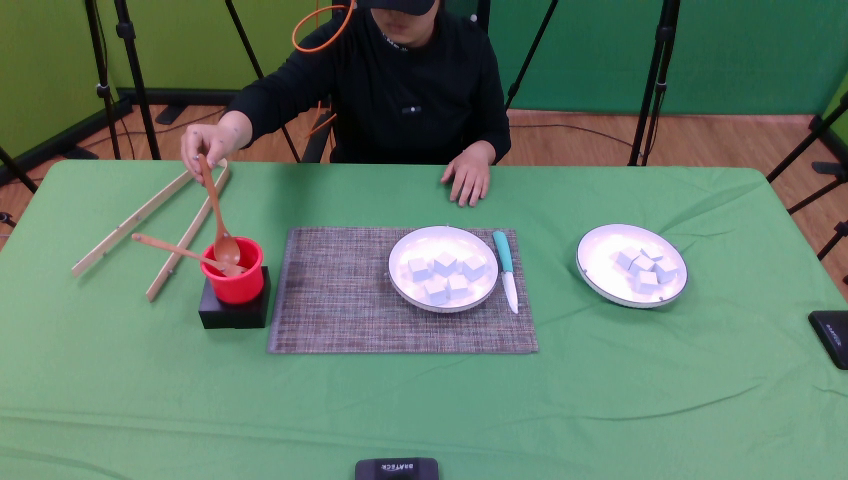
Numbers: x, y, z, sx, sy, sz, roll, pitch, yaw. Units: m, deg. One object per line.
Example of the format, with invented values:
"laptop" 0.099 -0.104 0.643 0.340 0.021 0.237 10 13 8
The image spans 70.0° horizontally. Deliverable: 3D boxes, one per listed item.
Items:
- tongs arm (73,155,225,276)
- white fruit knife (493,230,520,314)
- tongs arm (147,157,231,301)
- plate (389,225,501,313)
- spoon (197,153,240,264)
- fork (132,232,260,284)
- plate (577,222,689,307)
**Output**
"tongs arm" -0.531 -0.058 1.205 0.050 0.026 0.383 18 47 13
"white fruit knife" 0.160 0.057 1.154 0.027 0.016 0.206 -21 46 16
"tongs arm" -0.454 -0.036 1.193 0.028 0.028 0.385 6 46 6
"plate" 0.038 0.057 1.129 0.208 0.039 0.206 2 46 -2
"spoon" -0.334 -0.046 0.980 0.042 0.194 0.021 -18 30 -26
"fork" -0.363 0.029 0.978 0.208 0.018 0.028 26 64 -29
"plate" 0.396 0.050 1.165 0.209 0.038 0.208 2 47 -2
